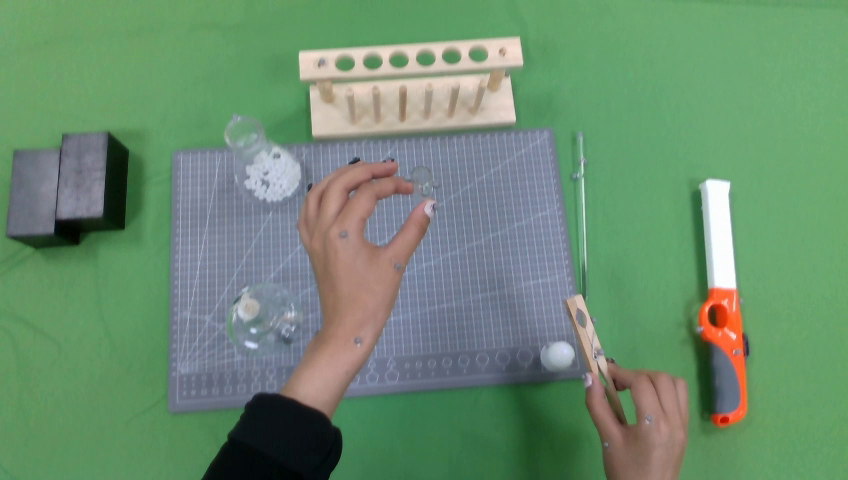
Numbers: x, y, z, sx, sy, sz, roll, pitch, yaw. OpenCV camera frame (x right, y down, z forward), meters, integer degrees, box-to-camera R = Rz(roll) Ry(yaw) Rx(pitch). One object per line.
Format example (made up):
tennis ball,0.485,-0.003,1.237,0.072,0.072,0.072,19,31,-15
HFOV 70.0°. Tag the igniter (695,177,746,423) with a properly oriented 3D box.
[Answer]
igniter,0.328,0.062,0.676,0.057,0.025,0.275,6,76,-10

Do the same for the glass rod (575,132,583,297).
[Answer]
glass rod,0.181,-0.032,0.705,0.008,0.008,0.199,2,78,-1

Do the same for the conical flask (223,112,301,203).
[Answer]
conical flask,-0.178,-0.092,0.646,0.075,0.122,0.075,0,75,-1

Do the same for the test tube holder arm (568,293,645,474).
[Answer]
test tube holder arm,0.172,0.135,0.573,0.013,0.015,0.178,-22,88,3

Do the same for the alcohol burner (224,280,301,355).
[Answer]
alcohol burner,-0.167,0.075,0.609,0.078,0.119,0.077,0,74,0

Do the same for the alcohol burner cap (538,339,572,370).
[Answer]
alcohol burner cap,0.141,0.120,0.645,0.034,0.048,0.033,0,74,-1

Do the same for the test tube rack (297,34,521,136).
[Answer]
test tube rack,-0.015,-0.176,0.695,0.242,0.085,0.066,-5,76,-3

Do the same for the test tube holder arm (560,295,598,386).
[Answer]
test tube holder arm,0.150,0.095,0.575,0.010,0.015,0.087,-21,88,3

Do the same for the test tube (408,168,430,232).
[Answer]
test tube,-0.003,-0.030,0.514,0.017,0.151,0.017,0,78,1
